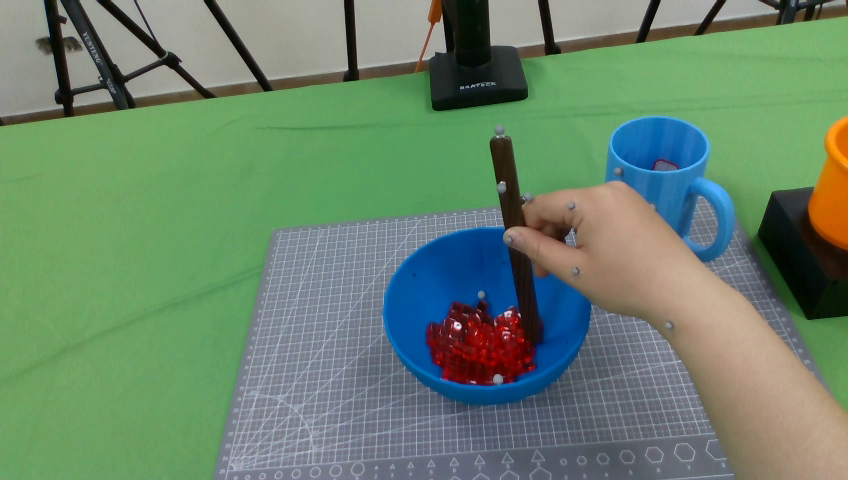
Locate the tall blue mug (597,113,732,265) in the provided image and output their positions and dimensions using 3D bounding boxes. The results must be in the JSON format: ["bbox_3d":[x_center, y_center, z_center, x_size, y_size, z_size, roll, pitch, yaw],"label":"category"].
[{"bbox_3d":[0.206,-0.038,0.513,0.106,0.109,0.077,15,50,23],"label":"tall blue mug"}]

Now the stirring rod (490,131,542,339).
[{"bbox_3d":[0.064,0.005,0.408,0.014,0.178,0.006,-2,38,18],"label":"stirring rod"}]

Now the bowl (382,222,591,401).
[{"bbox_3d":[0.048,0.066,0.461,0.151,0.077,0.150,-5,45,5],"label":"bowl"}]
